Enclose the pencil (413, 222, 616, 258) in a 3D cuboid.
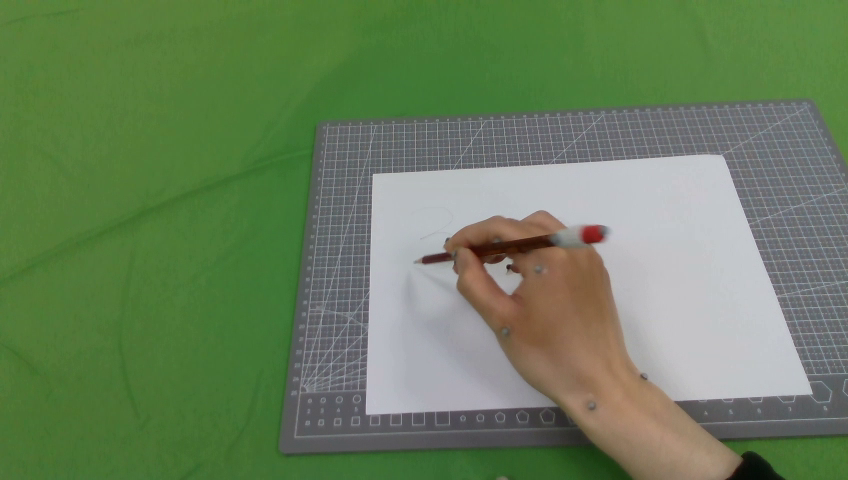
[{"bbox_3d":[0.041,0.003,0.374,0.012,0.193,0.012,3,84,-30],"label":"pencil"}]
